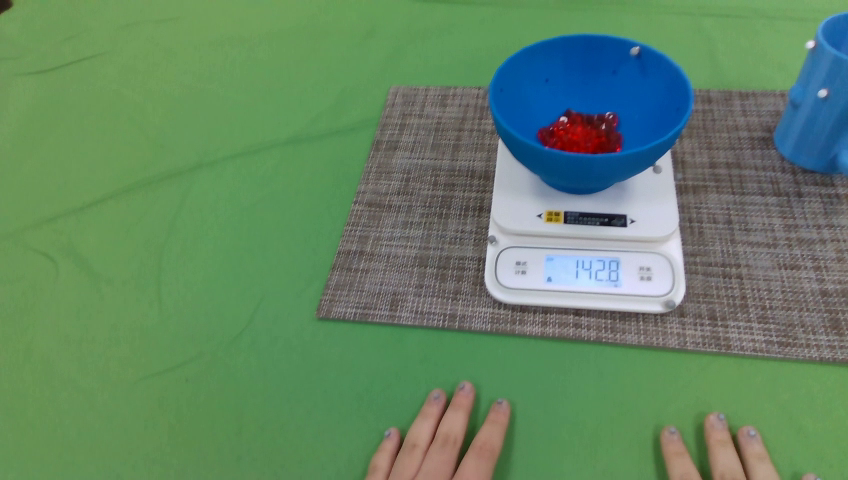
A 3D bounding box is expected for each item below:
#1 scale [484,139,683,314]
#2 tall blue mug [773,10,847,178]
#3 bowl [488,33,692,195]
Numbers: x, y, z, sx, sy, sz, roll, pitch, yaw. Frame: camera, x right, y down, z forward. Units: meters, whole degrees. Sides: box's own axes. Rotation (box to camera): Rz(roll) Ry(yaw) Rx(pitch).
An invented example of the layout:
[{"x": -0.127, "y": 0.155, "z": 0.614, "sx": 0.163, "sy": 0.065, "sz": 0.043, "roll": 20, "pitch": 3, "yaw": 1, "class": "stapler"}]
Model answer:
[{"x": 0.131, "y": -0.032, "z": 0.506, "sx": 0.148, "sy": 0.032, "sz": 0.199, "roll": 3, "pitch": 52, "yaw": 11, "class": "scale"}, {"x": 0.351, "y": -0.109, "z": 0.488, "sx": 0.078, "sy": 0.109, "sz": 0.106, "roll": -21, "pitch": 51, "yaw": -10, "class": "tall blue mug"}, {"x": 0.127, "y": -0.090, "z": 0.485, "sx": 0.151, "sy": 0.077, "sz": 0.150, "roll": -3, "pitch": 51, "yaw": 4, "class": "bowl"}]
